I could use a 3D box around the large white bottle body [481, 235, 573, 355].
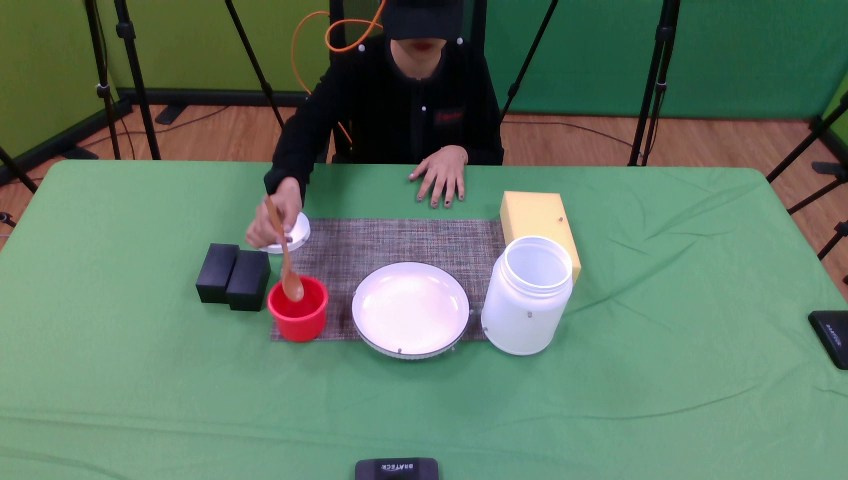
[{"bbox_3d":[0.171,0.091,1.006,0.131,0.185,0.130,3,48,-3],"label":"large white bottle body"}]

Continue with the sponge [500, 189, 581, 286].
[{"bbox_3d":[0.224,-0.007,1.192,0.118,0.061,0.205,1,47,-6],"label":"sponge"}]

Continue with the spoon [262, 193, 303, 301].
[{"bbox_3d":[-0.225,0.013,0.965,0.021,0.194,0.041,10,33,27],"label":"spoon"}]

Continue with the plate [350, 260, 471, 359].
[{"bbox_3d":[-0.024,0.124,1.061,0.209,0.038,0.208,2,46,-2],"label":"plate"}]

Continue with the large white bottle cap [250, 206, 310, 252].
[{"bbox_3d":[-0.284,-0.022,1.197,0.115,0.018,0.114,1,46,-1],"label":"large white bottle cap"}]
